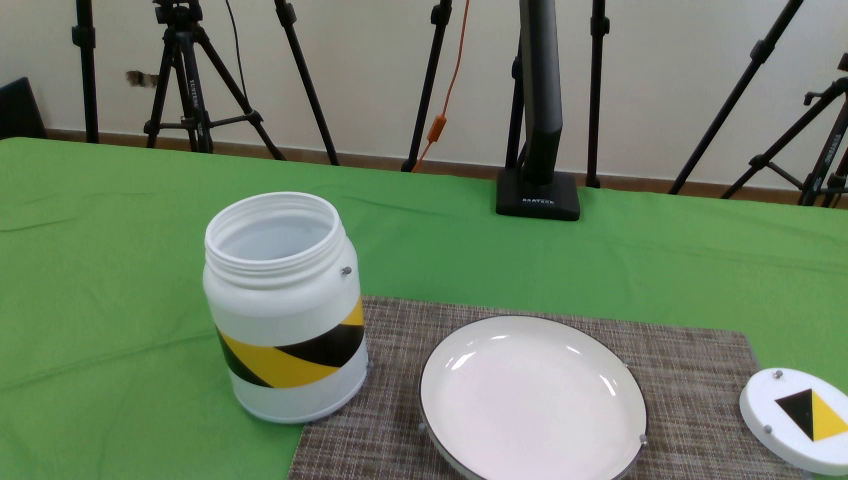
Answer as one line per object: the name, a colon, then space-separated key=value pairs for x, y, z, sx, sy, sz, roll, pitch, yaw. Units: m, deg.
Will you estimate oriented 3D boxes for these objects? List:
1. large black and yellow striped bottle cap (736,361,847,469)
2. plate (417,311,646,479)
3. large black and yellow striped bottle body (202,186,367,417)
large black and yellow striped bottle cap: x=0.362 y=0.164 z=0.580 sx=0.115 sy=0.019 sz=0.114 roll=5 pitch=38 yaw=-3
plate: x=0.096 y=0.150 z=0.563 sx=0.208 sy=0.039 sz=0.205 roll=2 pitch=36 yaw=-1
large black and yellow striped bottle body: x=-0.123 y=0.056 z=0.553 sx=0.131 sy=0.185 sz=0.129 roll=0 pitch=36 yaw=1
